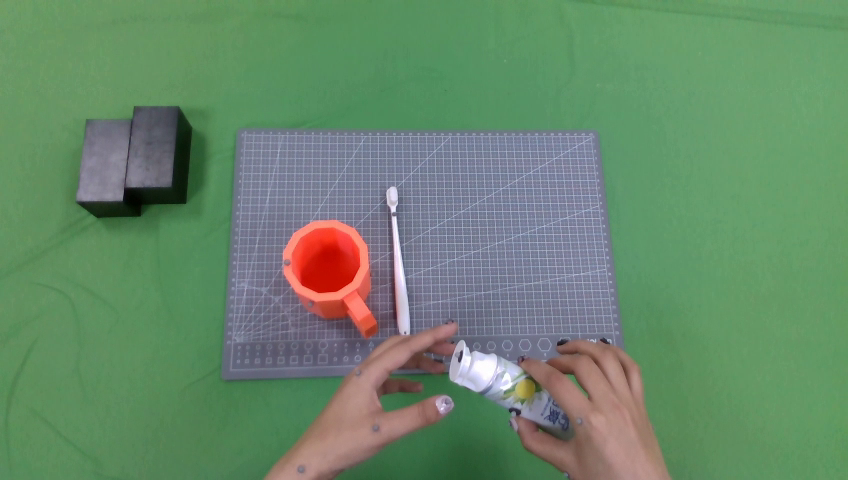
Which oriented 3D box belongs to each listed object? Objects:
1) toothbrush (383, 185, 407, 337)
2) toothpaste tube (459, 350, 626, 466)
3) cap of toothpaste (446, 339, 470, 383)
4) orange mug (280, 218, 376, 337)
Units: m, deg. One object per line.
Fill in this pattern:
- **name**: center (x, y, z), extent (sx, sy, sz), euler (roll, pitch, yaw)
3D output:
- **toothbrush**: center (-0.033, 0.021, 0.700), extent (0.014, 0.016, 0.181), euler (0, 75, -20)
- **toothpaste tube**: center (0.099, 0.139, 0.519), extent (0.166, 0.034, 0.055), euler (28, 85, -13)
- **cap of toothpaste**: center (0.029, 0.100, 0.501), extent (0.011, 0.037, 0.037), euler (15, 72, -8)
- **orange mug**: center (-0.093, 0.045, 0.646), extent (0.083, 0.101, 0.125), euler (-34, 74, -13)
